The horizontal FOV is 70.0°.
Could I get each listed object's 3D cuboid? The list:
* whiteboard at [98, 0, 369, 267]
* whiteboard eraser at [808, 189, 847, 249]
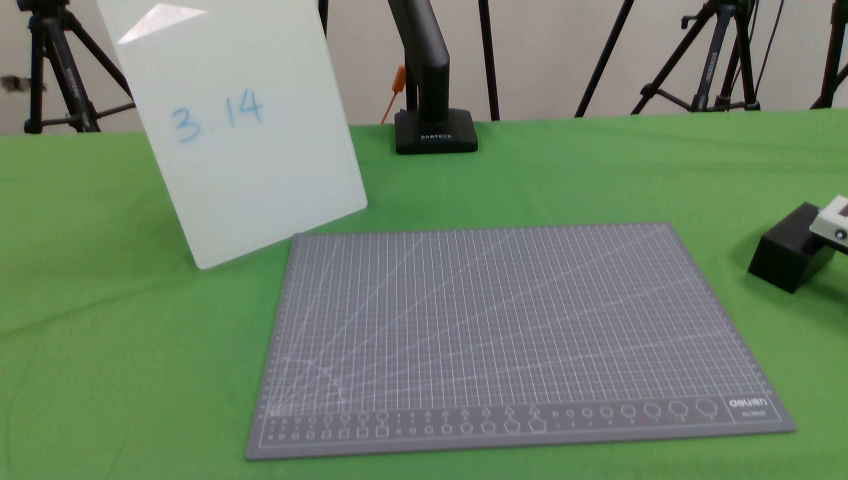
[{"bbox_3d":[-0.223,-0.162,0.708,0.217,0.307,0.142,-24,25,-26],"label":"whiteboard"},{"bbox_3d":[0.444,-0.006,0.592,0.055,0.042,0.111,-29,47,-32],"label":"whiteboard eraser"}]
